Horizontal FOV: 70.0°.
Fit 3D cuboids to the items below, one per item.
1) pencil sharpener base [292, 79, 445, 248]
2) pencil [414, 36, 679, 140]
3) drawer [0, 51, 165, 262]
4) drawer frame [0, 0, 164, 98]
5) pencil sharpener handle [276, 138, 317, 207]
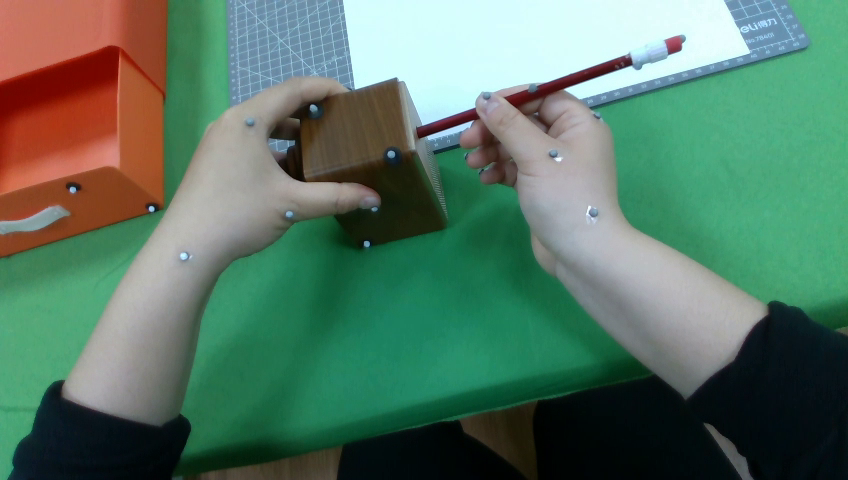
[{"bbox_3d":[-0.035,-0.046,0.412,0.076,0.108,0.061,-14,64,8],"label":"pencil sharpener base"},{"bbox_3d":[0.055,-0.085,0.368,0.194,0.012,0.012,-17,63,13],"label":"pencil"},{"bbox_3d":[-0.330,-0.098,0.525,0.194,0.074,0.210,-16,63,7],"label":"drawer"},{"bbox_3d":[-0.354,-0.202,0.574,0.201,0.083,0.211,-16,63,7],"label":"drawer frame"},{"bbox_3d":[-0.087,-0.040,0.409,0.030,0.068,0.035,-14,69,8],"label":"pencil sharpener handle"}]
